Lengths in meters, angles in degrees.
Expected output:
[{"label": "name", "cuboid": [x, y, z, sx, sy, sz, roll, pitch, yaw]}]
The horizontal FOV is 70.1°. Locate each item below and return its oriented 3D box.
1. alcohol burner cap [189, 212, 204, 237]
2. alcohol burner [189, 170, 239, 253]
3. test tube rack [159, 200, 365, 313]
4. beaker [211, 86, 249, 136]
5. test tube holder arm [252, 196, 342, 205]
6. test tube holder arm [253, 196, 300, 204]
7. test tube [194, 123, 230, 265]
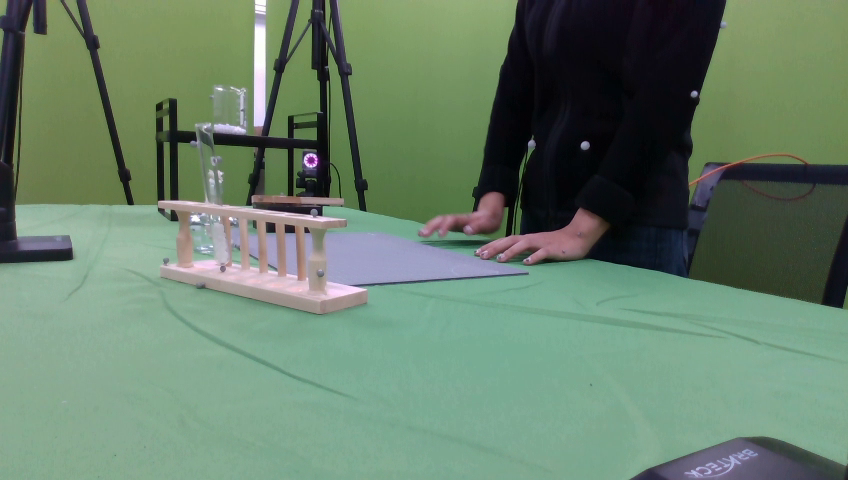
[{"label": "alcohol burner cap", "cuboid": [-0.389, -0.029, 1.026, 0.034, 0.048, 0.034, 3, 8, 0]}, {"label": "alcohol burner", "cuboid": [-0.303, -0.042, 0.871, 0.078, 0.119, 0.078, 3, 6, 0]}, {"label": "test tube rack", "cuboid": [-0.173, 0.009, 0.624, 0.241, 0.085, 0.067, 7, 9, 34]}, {"label": "beaker", "cuboid": [-0.413, -0.274, 1.297, 0.074, 0.100, 0.083, -5, 11, -44]}, {"label": "test tube holder arm", "cuboid": [-0.241, -0.076, 1.164, 0.179, 0.015, 0.013, -1, 6, -33]}, {"label": "test tube holder arm", "cuboid": [-0.276, -0.075, 1.135, 0.088, 0.015, 0.010, -1, 6, -32]}, {"label": "test tube", "cuboid": [-0.218, -0.045, 0.624, 0.017, 0.150, 0.017, -2, 19, 1]}]
